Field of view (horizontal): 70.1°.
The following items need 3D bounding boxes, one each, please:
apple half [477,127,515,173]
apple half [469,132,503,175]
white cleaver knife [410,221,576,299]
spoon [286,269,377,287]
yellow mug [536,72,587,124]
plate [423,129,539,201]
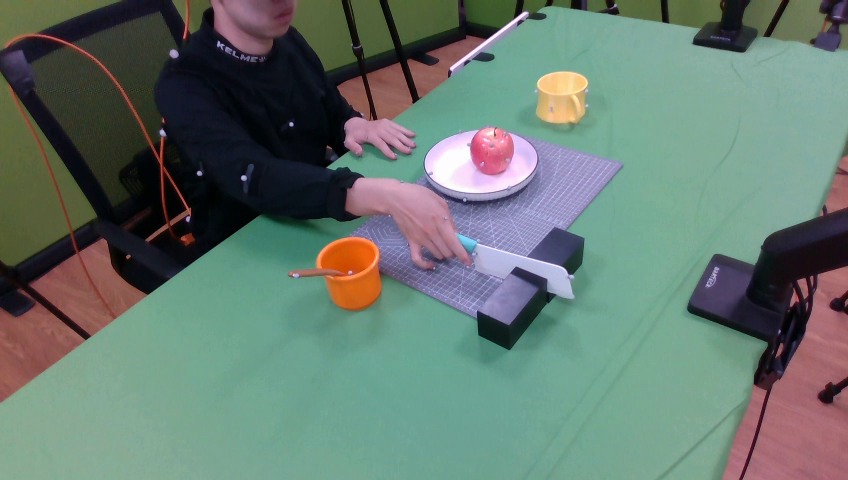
[{"bbox_3d":[0.132,-0.164,1.085,0.053,0.075,0.080,-28,41,-28],"label":"apple half"},{"bbox_3d":[0.102,-0.146,1.067,0.033,0.081,0.080,-28,44,-29],"label":"apple half"},{"bbox_3d":[0.089,0.029,0.880,0.284,0.066,0.021,19,46,37],"label":"white cleaver knife"},{"bbox_3d":[-0.125,0.049,0.832,0.041,0.195,0.021,22,92,28],"label":"spoon"},{"bbox_3d":[0.284,-0.281,1.222,0.100,0.064,0.130,-16,42,-10],"label":"yellow mug"},{"bbox_3d":[0.103,-0.132,1.092,0.209,0.038,0.208,-4,40,4],"label":"plate"}]
